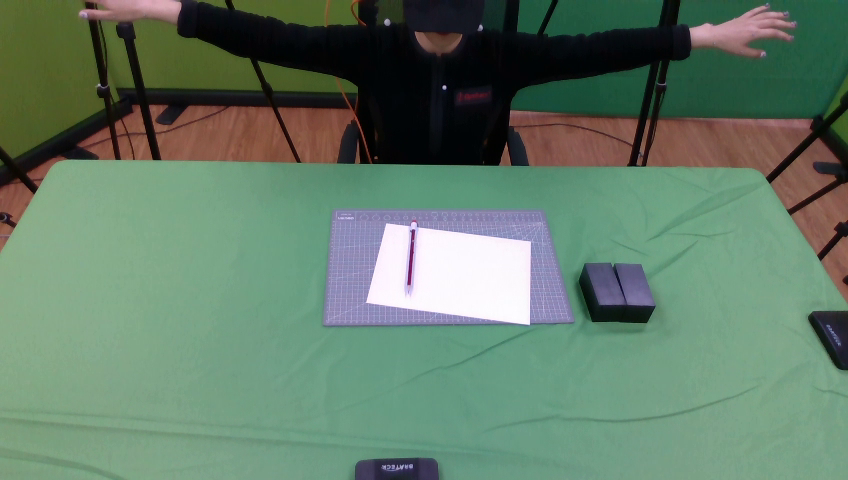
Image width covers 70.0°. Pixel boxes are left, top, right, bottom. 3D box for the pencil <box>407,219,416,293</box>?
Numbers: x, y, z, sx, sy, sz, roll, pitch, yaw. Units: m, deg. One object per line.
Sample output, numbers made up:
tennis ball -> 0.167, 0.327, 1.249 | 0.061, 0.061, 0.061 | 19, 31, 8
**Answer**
pencil -> -0.025, 0.028, 1.172 | 0.012, 0.012, 0.193 | 3, 46, 0
